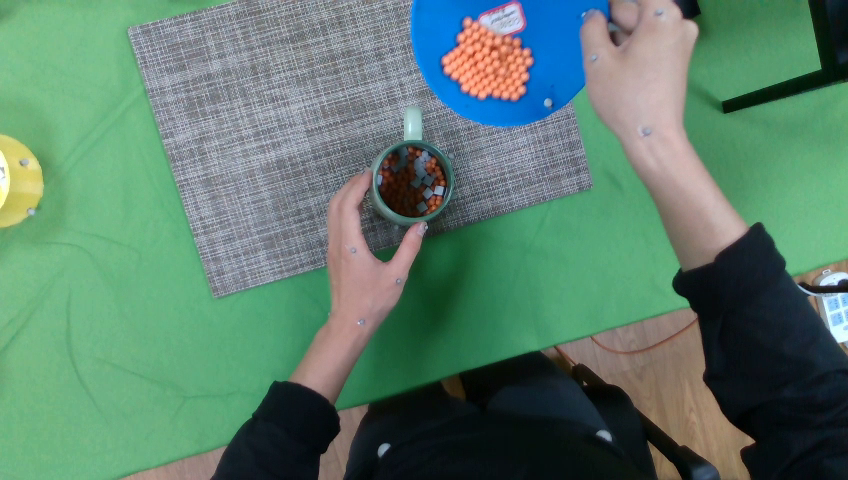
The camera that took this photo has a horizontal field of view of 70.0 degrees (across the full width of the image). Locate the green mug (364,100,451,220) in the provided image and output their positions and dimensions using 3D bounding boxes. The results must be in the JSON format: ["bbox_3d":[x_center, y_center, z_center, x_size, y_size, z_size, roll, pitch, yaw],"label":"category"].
[{"bbox_3d":[-0.017,-0.083,0.633,0.093,0.104,0.125,0,94,-6],"label":"green mug"}]

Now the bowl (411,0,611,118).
[{"bbox_3d":[0.063,-0.180,0.484,0.151,0.076,0.152,-1,113,-3],"label":"bowl"}]

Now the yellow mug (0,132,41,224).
[{"bbox_3d":[-0.460,-0.049,0.611,0.100,0.064,0.131,16,93,-7],"label":"yellow mug"}]
